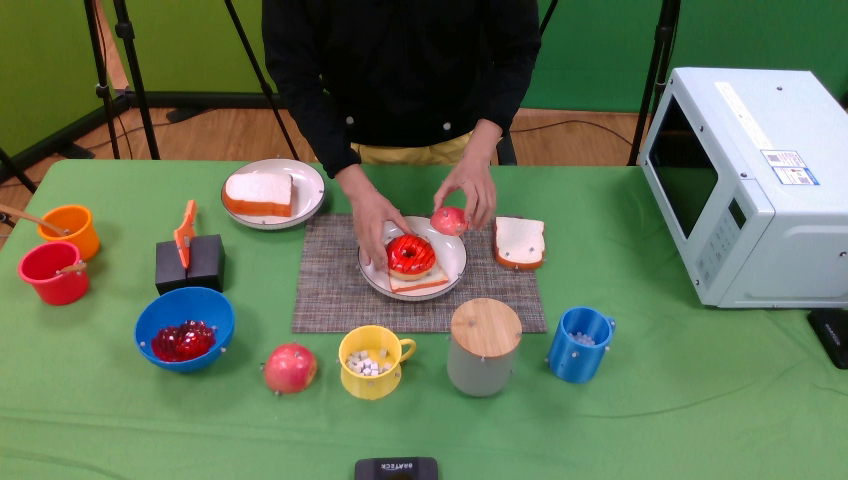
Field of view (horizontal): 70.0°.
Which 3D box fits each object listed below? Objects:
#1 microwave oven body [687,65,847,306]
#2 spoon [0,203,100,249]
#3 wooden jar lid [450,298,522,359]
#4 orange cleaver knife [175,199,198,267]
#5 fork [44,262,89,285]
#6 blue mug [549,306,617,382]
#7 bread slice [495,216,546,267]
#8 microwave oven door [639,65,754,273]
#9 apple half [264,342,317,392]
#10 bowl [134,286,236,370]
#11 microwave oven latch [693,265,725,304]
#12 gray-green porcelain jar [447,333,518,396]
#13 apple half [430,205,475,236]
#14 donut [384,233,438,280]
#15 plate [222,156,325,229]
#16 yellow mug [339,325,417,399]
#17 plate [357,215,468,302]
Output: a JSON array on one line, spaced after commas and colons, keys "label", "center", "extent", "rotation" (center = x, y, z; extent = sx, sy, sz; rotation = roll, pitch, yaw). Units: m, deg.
[{"label": "microwave oven body", "center": [0.669, -0.111, 1.176], "extent": [0.326, 0.261, 0.439], "rotation": [0, 46, -3]}, {"label": "spoon", "center": [-0.683, -0.031, 1.088], "extent": [0.195, 0.021, 0.041], "rotation": [33, 33, -38]}, {"label": "wooden jar lid", "center": [0.093, 0.135, 0.914], "extent": [0.108, 0.021, 0.107], "rotation": [3, 48, -3]}, {"label": "orange cleaver knife", "center": [-0.438, -0.017, 1.138], "extent": [0.012, 0.077, 0.210], "rotation": [-14, 27, -7]}, {"label": "fork", "center": [-0.598, 0.054, 1.014], "extent": [0.207, 0.019, 0.028], "rotation": [-15, 28, 45]}, {"label": "blue mug", "center": [0.269, 0.166, 0.998], "extent": [0.116, 0.106, 0.082], "rotation": [-19, 51, -21]}, {"label": "bread slice", "center": [0.194, 0.002, 1.205], "extent": [0.105, 0.019, 0.131], "rotation": [5, 45, 2]}, {"label": "microwave oven door", "center": [0.522, -0.147, 1.193], "extent": [0.039, 0.245, 0.353], "rotation": [0, 47, -3]}, {"label": "apple half", "center": [-0.214, 0.198, 0.970], "extent": [0.074, 0.053, 0.080], "rotation": [19, 48, 11]}, {"label": "bowl", "center": [-0.377, 0.155, 0.981], "extent": [0.151, 0.077, 0.150], "rotation": [2, 46, -2]}, {"label": "microwave oven latch", "center": [0.522, 0.081, 1.115], "extent": [0.030, 0.029, 0.078], "rotation": [2, 46, -1]}, {"label": "gray-green porcelain jar", "center": [0.091, 0.178, 0.960], "extent": [0.106, 0.127, 0.105], "rotation": [2, 46, -2]}, {"label": "apple half", "center": [0.049, -0.043, 1.068], "extent": [0.081, 0.033, 0.081], "rotation": [2, 36, -1]}, {"label": "donut", "center": [-0.025, 0.030, 1.109], "extent": [0.099, 0.048, 0.098], "rotation": [0, 48, 0]}, {"label": "plate", "center": [-0.308, -0.094, 1.251], "extent": [0.209, 0.038, 0.208], "rotation": [2, 46, -2]}, {"label": "yellow mug", "center": [-0.072, 0.190, 0.978], "extent": [0.131, 0.064, 0.099], "rotation": [-17, 50, -20]}, {"label": "plate", "center": [-0.022, 0.037, 1.141], "extent": [0.208, 0.039, 0.206], "rotation": [2, 47, -2]}]
